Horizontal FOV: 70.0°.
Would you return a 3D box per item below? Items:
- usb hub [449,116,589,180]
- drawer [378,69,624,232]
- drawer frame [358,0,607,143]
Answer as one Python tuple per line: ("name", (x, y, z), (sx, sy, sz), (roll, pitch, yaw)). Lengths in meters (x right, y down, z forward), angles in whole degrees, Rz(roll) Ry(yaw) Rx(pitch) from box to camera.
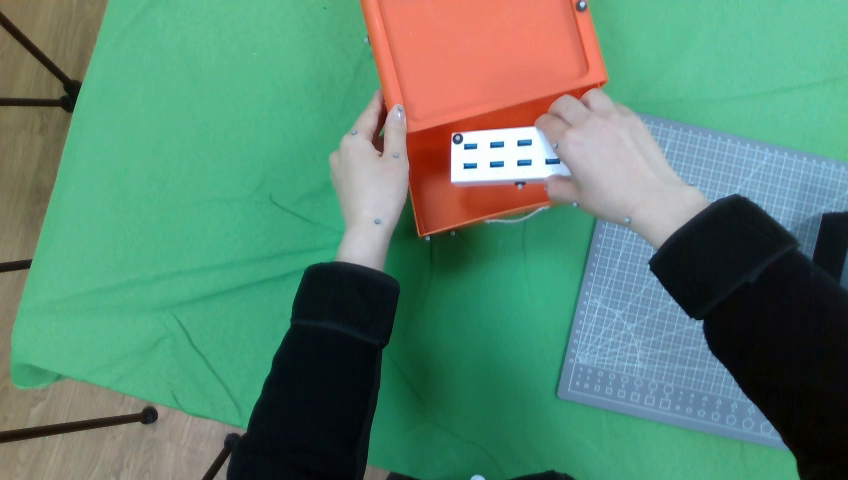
("usb hub", (0.085, -0.083, 0.549), (0.125, 0.025, 0.049), (-1, 86, 18))
("drawer", (0.064, -0.128, 0.576), (0.194, 0.073, 0.211), (-13, 89, 0))
("drawer frame", (0.040, -0.220, 0.572), (0.202, 0.083, 0.213), (-16, 90, 0))
